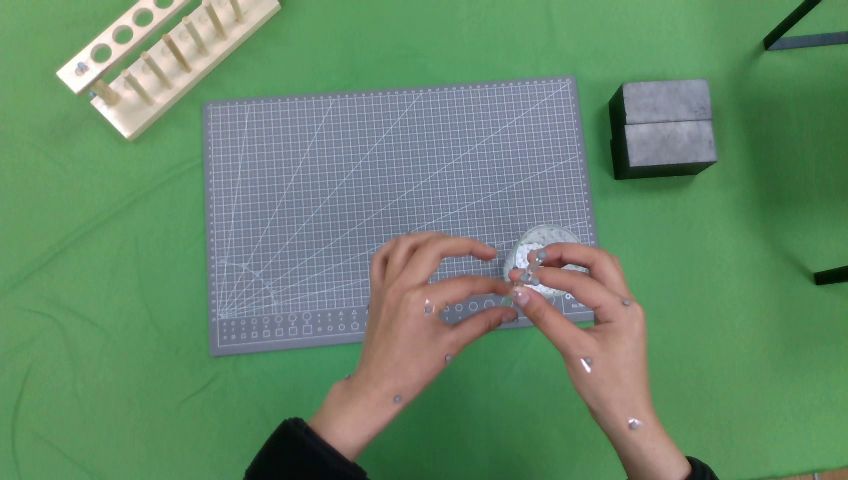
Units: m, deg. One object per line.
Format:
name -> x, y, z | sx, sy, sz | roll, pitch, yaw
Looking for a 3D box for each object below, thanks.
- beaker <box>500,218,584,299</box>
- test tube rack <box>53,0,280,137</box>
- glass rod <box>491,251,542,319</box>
beaker -> 0.120, 0.027, 0.652 | 0.084, 0.100, 0.074 | -42, 83, -8
test tube rack -> -0.284, -0.235, 0.691 | 0.066, 0.085, 0.242 | 44, 81, 6
glass rod -> 0.067, 0.040, 0.468 | 0.008, 0.201, 0.008 | 1, 72, -1
